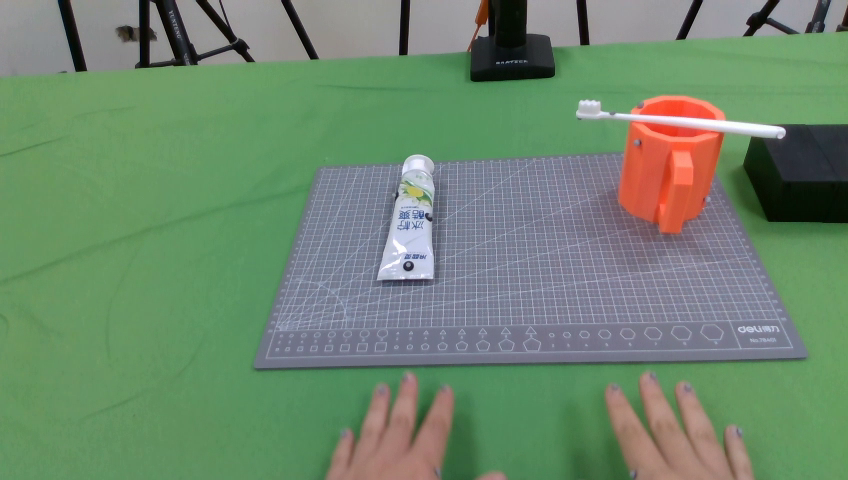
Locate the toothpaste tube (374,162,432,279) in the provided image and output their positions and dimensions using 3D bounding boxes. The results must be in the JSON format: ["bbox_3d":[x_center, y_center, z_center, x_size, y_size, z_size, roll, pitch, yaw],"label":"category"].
[{"bbox_3d":[-0.017,-0.024,0.623,0.055,0.035,0.163,-5,46,8],"label":"toothpaste tube"}]

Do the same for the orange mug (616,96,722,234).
[{"bbox_3d":[0.237,-0.069,0.589,0.083,0.102,0.125,4,38,11],"label":"orange mug"}]

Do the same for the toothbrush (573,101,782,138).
[{"bbox_3d":[0.229,-0.111,0.558,0.181,0.017,0.014,11,37,19],"label":"toothbrush"}]

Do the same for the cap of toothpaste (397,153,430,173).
[{"bbox_3d":[-0.011,-0.081,0.675,0.037,0.038,0.011,0,49,7],"label":"cap of toothpaste"}]
